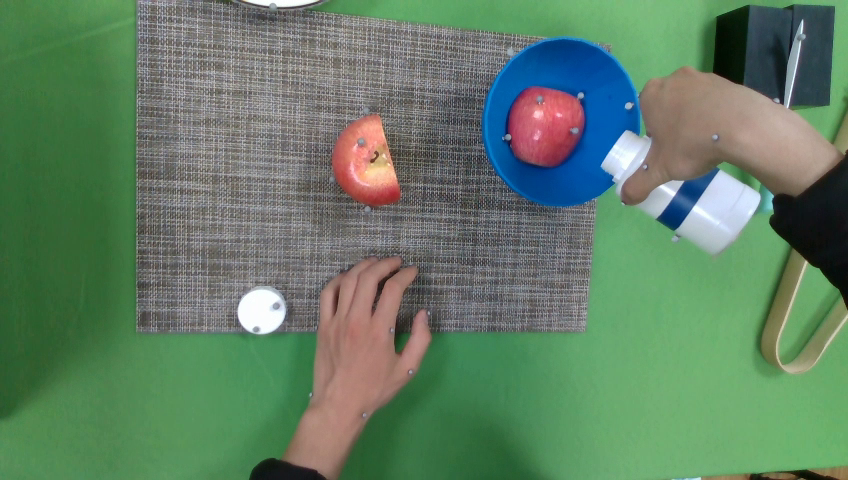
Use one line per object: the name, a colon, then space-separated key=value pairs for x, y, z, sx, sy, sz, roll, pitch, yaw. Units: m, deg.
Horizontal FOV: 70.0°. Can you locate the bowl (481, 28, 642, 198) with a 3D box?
bowl: x=0.119 y=-0.117 z=0.578 sx=0.152 sy=0.076 sz=0.151 roll=-2 pitch=98 yaw=-11

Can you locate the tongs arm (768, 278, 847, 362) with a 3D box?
tongs arm: x=0.530 y=-0.017 z=0.705 sx=0.051 sy=0.026 sz=0.384 roll=32 pitch=92 yaw=-13

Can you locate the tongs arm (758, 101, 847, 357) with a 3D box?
tongs arm: x=0.458 y=-0.053 z=0.689 sx=0.028 sy=0.027 sz=0.387 roll=18 pitch=94 yaw=-16

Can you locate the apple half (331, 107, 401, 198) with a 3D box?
apple half: x=-0.057 y=-0.075 z=0.549 sx=0.053 sy=0.074 sz=0.081 roll=-17 pitch=104 yaw=-5

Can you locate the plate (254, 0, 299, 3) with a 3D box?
plate: x=-0.136 y=-0.310 z=0.522 sx=0.208 sy=0.039 sz=0.208 roll=-2 pitch=98 yaw=-12

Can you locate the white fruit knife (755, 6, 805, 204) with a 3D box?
white fruit knife: x=0.370 y=-0.131 z=0.628 sx=0.016 sy=0.027 sz=0.209 roll=-1 pitch=115 yaw=6

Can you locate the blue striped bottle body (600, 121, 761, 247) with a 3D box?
blue striped bottle body: x=0.210 y=-0.052 z=0.510 sx=0.120 sy=0.063 sz=0.063 roll=36 pitch=89 yaw=11

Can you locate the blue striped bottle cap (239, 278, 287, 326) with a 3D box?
blue striped bottle cap: x=-0.153 y=0.059 z=0.577 sx=0.045 sy=0.020 sz=0.044 roll=-2 pitch=98 yaw=-13

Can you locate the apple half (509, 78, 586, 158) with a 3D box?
apple half: x=0.121 y=-0.115 z=0.573 sx=0.081 sy=0.032 sz=0.081 roll=-1 pitch=97 yaw=-11
